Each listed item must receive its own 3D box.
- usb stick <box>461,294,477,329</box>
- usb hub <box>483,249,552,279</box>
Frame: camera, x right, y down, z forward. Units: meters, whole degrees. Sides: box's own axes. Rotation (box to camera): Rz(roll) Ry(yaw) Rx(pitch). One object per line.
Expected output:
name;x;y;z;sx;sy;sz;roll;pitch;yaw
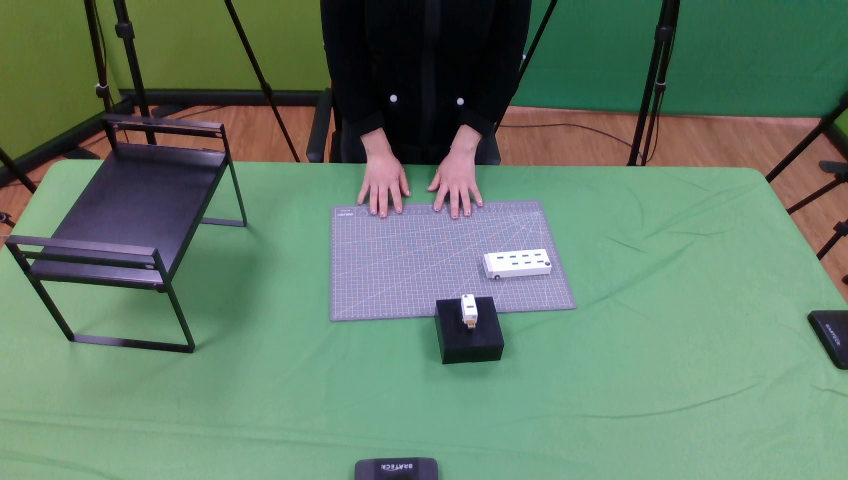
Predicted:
usb stick;0.076;0.121;1.013;0.021;0.027;0.059;-1;49;-7
usb hub;0.178;0.046;1.159;0.125;0.025;0.049;-5;47;-8
